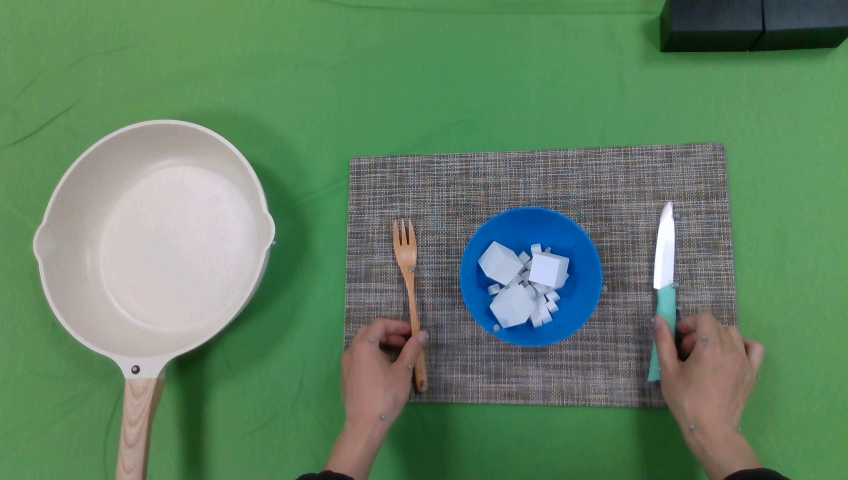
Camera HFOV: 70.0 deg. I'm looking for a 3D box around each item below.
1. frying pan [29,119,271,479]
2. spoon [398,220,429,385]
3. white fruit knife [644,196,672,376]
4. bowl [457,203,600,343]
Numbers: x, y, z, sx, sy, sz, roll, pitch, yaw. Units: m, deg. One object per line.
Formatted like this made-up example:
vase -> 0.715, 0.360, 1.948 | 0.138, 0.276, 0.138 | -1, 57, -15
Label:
frying pan -> -0.324, 0.098, 0.714 | 0.306, 0.103, 0.484 | -2, 72, 8
spoon -> -0.013, 0.072, 0.714 | 0.041, 0.022, 0.193 | -4, 77, 23
white fruit knife -> 0.267, 0.050, 0.683 | 0.027, 0.016, 0.206 | 6, 81, 1
bowl -> 0.114, 0.041, 0.674 | 0.151, 0.077, 0.151 | -1, 80, 7
